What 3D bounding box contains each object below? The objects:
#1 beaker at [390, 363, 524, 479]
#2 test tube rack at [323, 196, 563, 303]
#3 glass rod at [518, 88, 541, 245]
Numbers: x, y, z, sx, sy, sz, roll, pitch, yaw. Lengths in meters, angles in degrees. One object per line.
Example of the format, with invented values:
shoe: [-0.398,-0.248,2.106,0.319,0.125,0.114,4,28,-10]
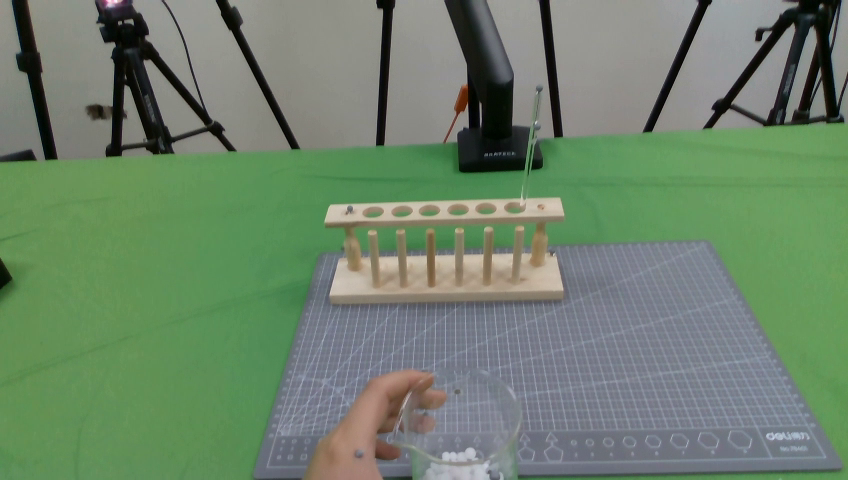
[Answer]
beaker: [0.023,0.144,0.398,0.084,0.101,0.073,-16,37,-14]
test tube rack: [0.020,0.010,0.631,0.242,0.086,0.066,-2,36,4]
glass rod: [0.101,-0.054,0.597,0.008,0.201,0.008,0,37,0]
